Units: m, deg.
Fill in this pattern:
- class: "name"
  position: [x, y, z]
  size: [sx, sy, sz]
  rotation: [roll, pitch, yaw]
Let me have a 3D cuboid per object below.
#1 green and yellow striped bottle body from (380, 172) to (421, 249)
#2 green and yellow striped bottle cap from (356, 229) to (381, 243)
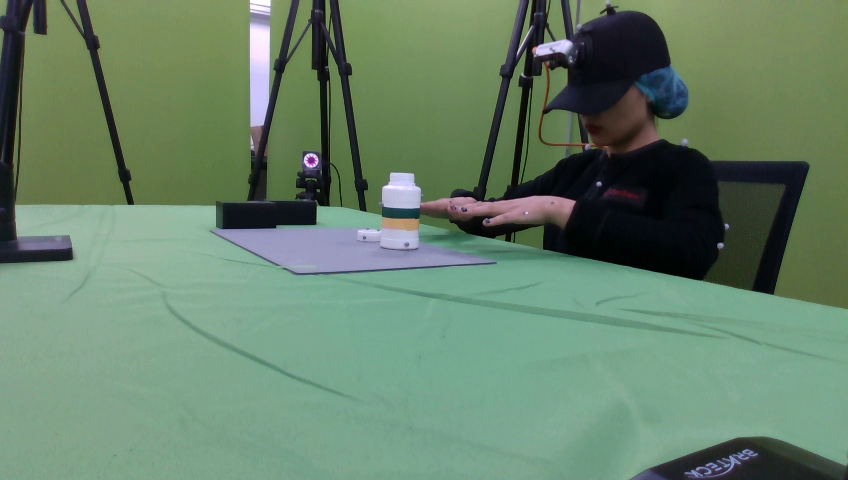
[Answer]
- class: "green and yellow striped bottle body"
  position: [-0.037, -0.048, 0.959]
  size: [0.063, 0.119, 0.063]
  rotation: [3, 8, 0]
- class: "green and yellow striped bottle cap"
  position: [-0.094, -0.007, 1.040]
  size: [0.045, 0.020, 0.045]
  rotation: [4, 6, 0]
